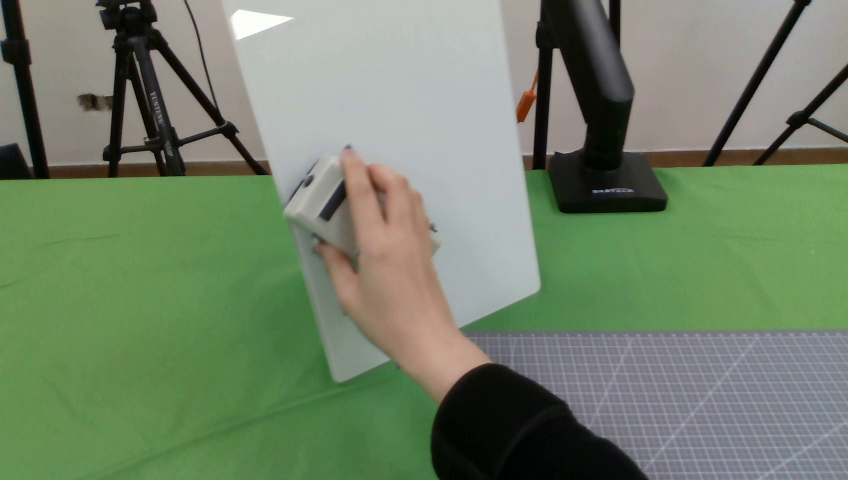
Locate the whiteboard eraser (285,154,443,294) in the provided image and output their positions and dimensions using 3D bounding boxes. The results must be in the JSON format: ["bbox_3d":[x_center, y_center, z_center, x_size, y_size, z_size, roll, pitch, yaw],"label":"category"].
[{"bbox_3d":[-0.043,-0.010,0.451,0.055,0.113,0.041,-59,27,-11],"label":"whiteboard eraser"}]

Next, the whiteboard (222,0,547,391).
[{"bbox_3d":[-0.038,-0.067,0.541,0.217,0.307,0.142,-21,21,-23],"label":"whiteboard"}]
